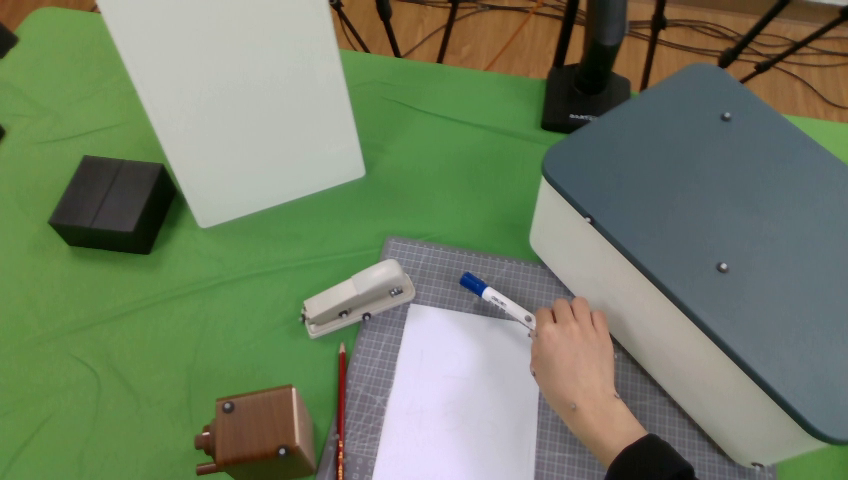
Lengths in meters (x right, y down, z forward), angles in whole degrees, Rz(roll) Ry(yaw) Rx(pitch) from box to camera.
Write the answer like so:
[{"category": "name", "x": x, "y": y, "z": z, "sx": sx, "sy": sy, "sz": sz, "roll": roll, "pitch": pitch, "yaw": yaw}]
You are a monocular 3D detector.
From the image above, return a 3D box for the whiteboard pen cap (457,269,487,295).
[{"category": "whiteboard pen cap", "x": 0.053, "y": 0.047, "z": 0.664, "sx": 0.033, "sy": 0.018, "sz": 0.018, "roll": 33, "pitch": 63, "yaw": 24}]

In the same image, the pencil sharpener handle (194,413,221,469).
[{"category": "pencil sharpener handle", "x": -0.198, "y": 0.186, "z": 0.547, "sx": 0.031, "sy": 0.068, "sz": 0.035, "roll": -9, "pitch": 43, "yaw": -6}]

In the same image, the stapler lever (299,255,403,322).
[{"category": "stapler lever", "x": -0.080, "y": 0.052, "z": 0.665, "sx": 0.118, "sy": 0.040, "sz": 0.026, "roll": -21, "pitch": 57, "yaw": -10}]

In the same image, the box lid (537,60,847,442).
[{"category": "box lid", "x": 0.314, "y": -0.024, "z": 0.583, "sx": 0.263, "sy": 0.015, "sz": 0.368, "roll": -32, "pitch": 65, "yaw": -20}]

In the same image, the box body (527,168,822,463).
[{"category": "box body", "x": 0.314, "y": 0.017, "z": 0.646, "sx": 0.254, "sy": 0.161, "sz": 0.361, "roll": -32, "pitch": 64, "yaw": -20}]

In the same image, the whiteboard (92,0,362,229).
[{"category": "whiteboard", "x": -0.222, "y": -0.204, "z": 0.719, "sx": 0.217, "sy": 0.308, "sz": 0.142, "roll": -20, "pitch": 42, "yaw": -13}]

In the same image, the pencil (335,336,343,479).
[{"category": "pencil", "x": -0.087, "y": 0.187, "z": 0.620, "sx": 0.012, "sy": 0.012, "sz": 0.192, "roll": -3, "pitch": 58, "yaw": -3}]

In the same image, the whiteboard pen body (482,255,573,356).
[{"category": "whiteboard pen body", "x": 0.105, "y": 0.065, "z": 0.637, "sx": 0.017, "sy": 0.017, "sz": 0.139, "roll": -31, "pitch": 65, "yaw": -19}]

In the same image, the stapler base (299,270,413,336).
[{"category": "stapler base", "x": -0.078, "y": 0.064, "z": 0.686, "sx": 0.131, "sy": 0.024, "sz": 0.041, "roll": -21, "pitch": 57, "yaw": -10}]

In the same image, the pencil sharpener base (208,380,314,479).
[{"category": "pencil sharpener base", "x": -0.149, "y": 0.181, "z": 0.566, "sx": 0.077, "sy": 0.108, "sz": 0.061, "roll": -9, "pitch": 59, "yaw": -6}]
